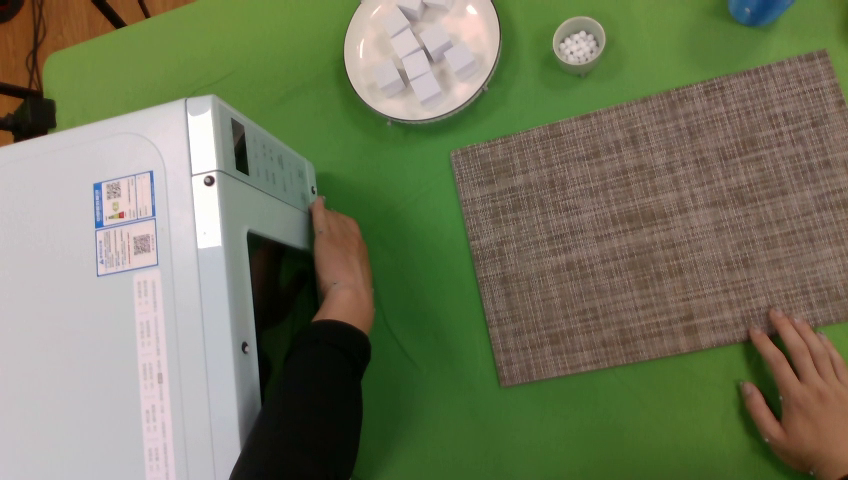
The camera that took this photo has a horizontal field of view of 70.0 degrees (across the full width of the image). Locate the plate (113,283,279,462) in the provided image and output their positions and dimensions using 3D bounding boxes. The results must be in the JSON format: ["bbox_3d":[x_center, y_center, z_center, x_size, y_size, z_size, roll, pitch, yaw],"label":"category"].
[{"bbox_3d":[-0.268,0.155,0.724,0.209,0.038,0.208,-2,82,12],"label":"plate"}]

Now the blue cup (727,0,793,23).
[{"bbox_3d":[0.382,-0.292,0.671,0.092,0.100,0.092,-1,83,12],"label":"blue cup"}]

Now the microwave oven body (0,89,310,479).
[{"bbox_3d":[-0.296,0.111,0.685,0.325,0.261,0.440,-10,80,11],"label":"microwave oven body"}]

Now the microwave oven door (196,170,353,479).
[{"bbox_3d":[-0.151,0.125,0.644,0.039,0.245,0.354,-11,79,12],"label":"microwave oven door"}]

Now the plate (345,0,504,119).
[{"bbox_3d":[0.001,-0.254,0.787,0.207,0.039,0.207,-2,82,13],"label":"plate"}]

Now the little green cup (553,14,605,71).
[{"bbox_3d":[0.189,-0.239,0.741,0.061,0.039,0.061,-2,81,13],"label":"little green cup"}]

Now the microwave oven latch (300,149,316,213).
[{"bbox_3d":[-0.157,-0.074,0.778,0.030,0.029,0.079,-8,81,11],"label":"microwave oven latch"}]
